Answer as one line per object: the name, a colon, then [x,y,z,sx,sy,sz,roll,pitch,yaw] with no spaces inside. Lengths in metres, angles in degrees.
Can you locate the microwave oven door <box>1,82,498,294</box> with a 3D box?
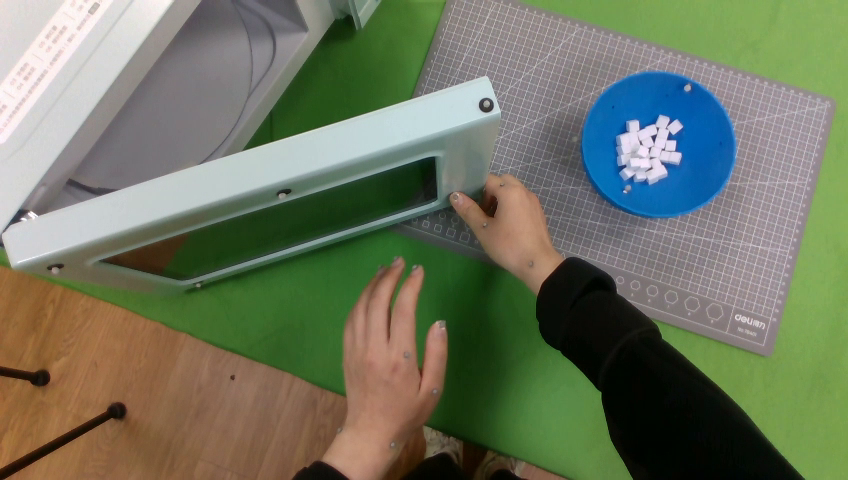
microwave oven door: [-0.116,-0.030,0.531,0.356,0.244,0.039,-18,80,-1]

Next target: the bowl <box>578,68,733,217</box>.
bowl: [0.229,-0.091,0.631,0.151,0.077,0.151,0,82,2]

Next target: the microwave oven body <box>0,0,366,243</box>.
microwave oven body: [-0.284,-0.233,0.570,0.325,0.261,0.441,33,84,5]

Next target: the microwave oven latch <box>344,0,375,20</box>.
microwave oven latch: [-0.060,-0.286,0.671,0.030,0.029,0.079,35,84,6]
